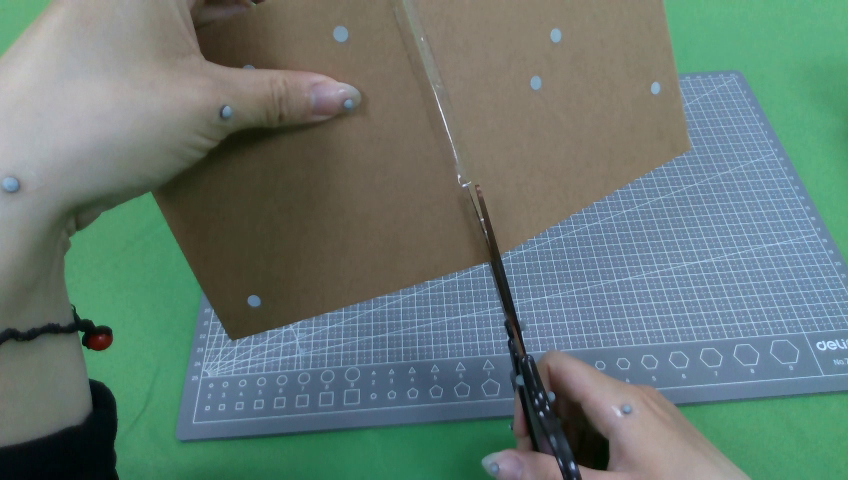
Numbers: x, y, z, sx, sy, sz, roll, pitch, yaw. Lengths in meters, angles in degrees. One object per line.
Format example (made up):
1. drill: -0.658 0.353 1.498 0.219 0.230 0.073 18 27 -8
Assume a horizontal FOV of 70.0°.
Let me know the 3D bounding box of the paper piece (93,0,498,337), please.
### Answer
1. paper piece: -0.053 -0.031 0.263 0.138 0.137 0.008 -16 16 11

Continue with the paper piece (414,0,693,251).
1. paper piece: 0.067 -0.082 0.275 0.136 0.136 0.004 -26 24 -18

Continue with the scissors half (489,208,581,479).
1. scissors half: 0.049 0.052 0.281 0.013 0.040 0.175 -16 91 -5

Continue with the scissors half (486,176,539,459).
1. scissors half: 0.046 0.045 0.303 0.013 0.177 0.039 -15 34 -1
